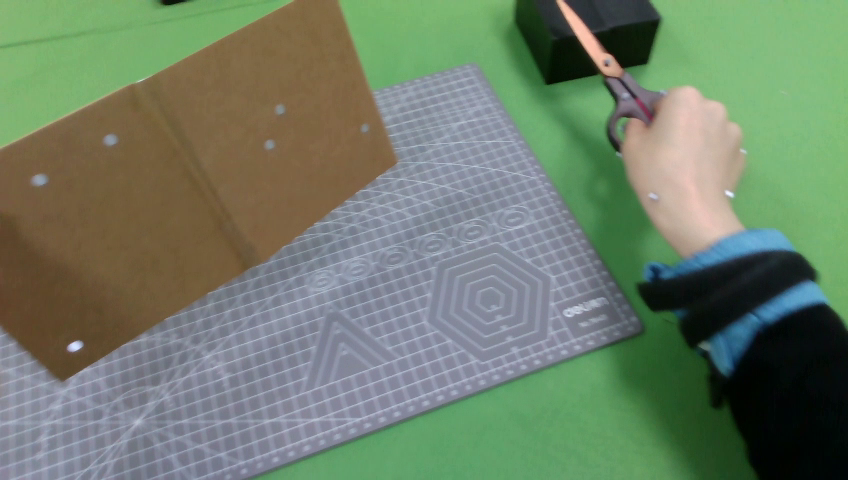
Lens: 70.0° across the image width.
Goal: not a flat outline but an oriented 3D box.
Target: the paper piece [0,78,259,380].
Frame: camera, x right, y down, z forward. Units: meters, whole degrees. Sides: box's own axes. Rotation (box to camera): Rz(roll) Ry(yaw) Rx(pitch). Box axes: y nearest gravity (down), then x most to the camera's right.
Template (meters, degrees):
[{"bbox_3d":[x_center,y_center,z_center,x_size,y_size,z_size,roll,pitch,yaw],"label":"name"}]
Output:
[{"bbox_3d":[-0.184,-0.001,0.342,0.138,0.137,0.008,-33,37,-18],"label":"paper piece"}]

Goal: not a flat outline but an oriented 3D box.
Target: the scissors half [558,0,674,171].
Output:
[{"bbox_3d":[0.144,-0.129,0.480,0.040,0.013,0.174,-19,73,-9],"label":"scissors half"}]

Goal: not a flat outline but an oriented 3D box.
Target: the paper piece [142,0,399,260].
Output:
[{"bbox_3d":[-0.083,-0.075,0.388,0.135,0.137,0.004,-39,41,-24],"label":"paper piece"}]

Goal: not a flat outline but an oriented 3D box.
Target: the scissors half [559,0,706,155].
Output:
[{"bbox_3d":[0.161,-0.138,0.483,0.040,0.013,0.174,-36,76,-8],"label":"scissors half"}]
